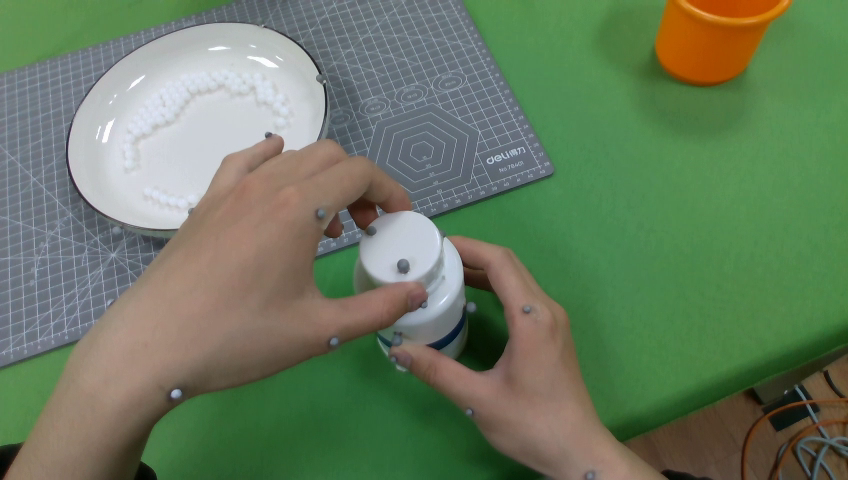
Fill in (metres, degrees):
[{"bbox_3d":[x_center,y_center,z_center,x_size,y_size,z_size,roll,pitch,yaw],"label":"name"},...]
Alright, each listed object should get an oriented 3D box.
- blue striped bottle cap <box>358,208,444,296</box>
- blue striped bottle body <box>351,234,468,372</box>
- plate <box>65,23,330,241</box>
[{"bbox_3d":[-0.012,0.005,0.316,0.044,0.021,0.044,-2,64,4],"label":"blue striped bottle cap"},{"bbox_3d":[-0.007,0.033,0.366,0.063,0.122,0.062,-3,62,5],"label":"blue striped bottle body"},{"bbox_3d":[-0.176,-0.087,0.488,0.207,0.039,0.206,-2,62,4],"label":"plate"}]
